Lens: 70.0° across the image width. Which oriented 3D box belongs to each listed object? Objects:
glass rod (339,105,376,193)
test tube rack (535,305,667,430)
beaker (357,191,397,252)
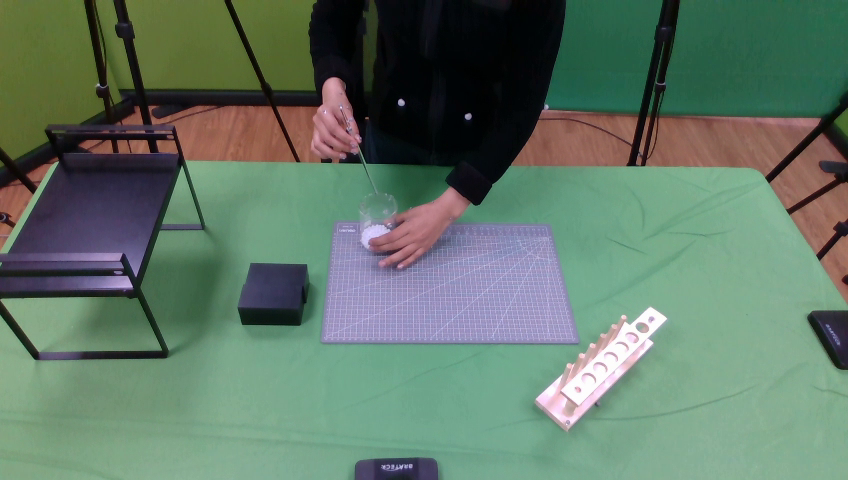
[{"bbox_3d":[-0.113,-0.154,1.056,0.008,0.201,0.008,-9,48,10],"label":"glass rod"},{"bbox_3d":[0.290,0.193,0.984,0.242,0.085,0.066,-32,57,-30],"label":"test tube rack"},{"bbox_3d":[-0.087,-0.034,1.162,0.074,0.101,0.084,27,50,20],"label":"beaker"}]
